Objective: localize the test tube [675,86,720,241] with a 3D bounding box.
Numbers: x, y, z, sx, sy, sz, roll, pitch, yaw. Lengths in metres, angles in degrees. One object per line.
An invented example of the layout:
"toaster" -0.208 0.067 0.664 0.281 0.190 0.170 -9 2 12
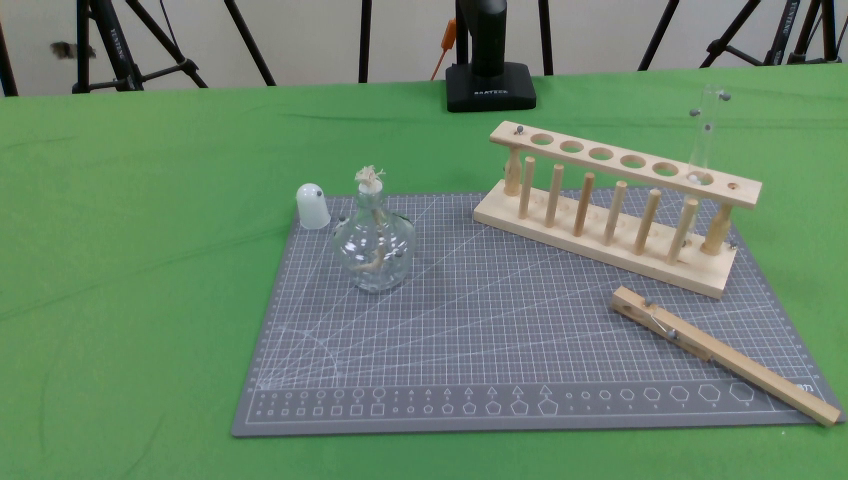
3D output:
"test tube" 0.234 -0.060 0.523 0.017 0.151 0.017 -5 37 4

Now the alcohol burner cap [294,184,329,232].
"alcohol burner cap" -0.118 -0.036 0.626 0.034 0.048 0.033 -1 41 1

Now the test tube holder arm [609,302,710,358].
"test tube holder arm" 0.196 0.072 0.504 0.087 0.010 0.015 26 53 37

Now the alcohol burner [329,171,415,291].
"alcohol burner" -0.047 -0.012 0.537 0.078 0.120 0.077 -1 42 1

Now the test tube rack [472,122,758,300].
"test tube rack" 0.167 -0.034 0.572 0.240 0.086 0.066 20 45 25

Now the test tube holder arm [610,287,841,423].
"test tube holder arm" 0.228 0.086 0.475 0.177 0.013 0.015 30 56 32
